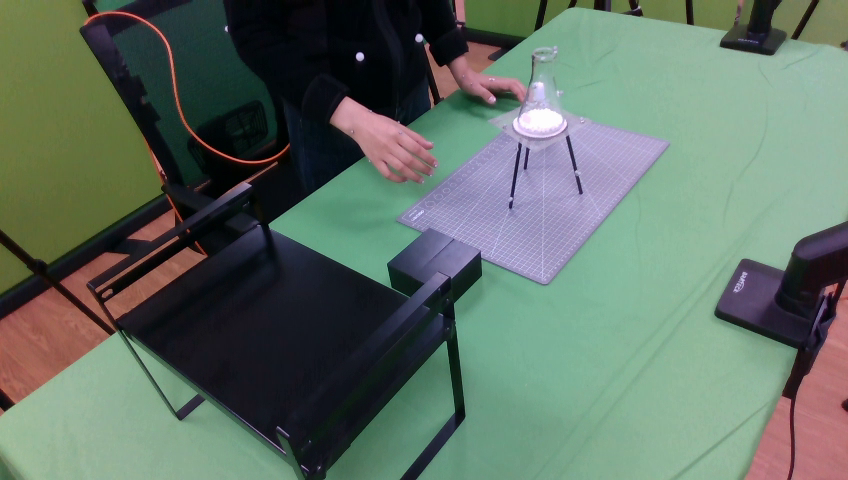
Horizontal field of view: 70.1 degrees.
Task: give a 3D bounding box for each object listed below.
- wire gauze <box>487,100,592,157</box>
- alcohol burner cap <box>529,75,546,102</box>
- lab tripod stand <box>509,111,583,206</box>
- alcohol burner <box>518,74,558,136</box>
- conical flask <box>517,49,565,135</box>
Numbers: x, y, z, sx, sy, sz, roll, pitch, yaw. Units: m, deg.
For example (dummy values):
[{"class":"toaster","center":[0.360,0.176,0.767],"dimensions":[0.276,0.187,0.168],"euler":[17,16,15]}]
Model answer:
[{"class":"wire gauze","center":[0.185,-0.187,0.974],"dimensions":[0.122,0.011,0.124],"euler":[-28,47,-22]},{"class":"alcohol burner cap","center":[0.218,-0.292,1.156],"dimensions":[0.034,0.048,0.033],"euler":[-3,46,4]},{"class":"lab tripod stand","center":[0.197,-0.139,1.020],"dimensions":[0.148,0.132,0.147],"euler":[-3,39,3]},{"class":"alcohol burner","center":[0.222,-0.265,1.179],"dimensions":[0.078,0.119,0.077],"euler":[-5,39,5]},{"class":"conical flask","center":[0.183,-0.231,0.936],"dimensions":[0.075,0.122,0.075],"euler":[-4,40,4]}]
